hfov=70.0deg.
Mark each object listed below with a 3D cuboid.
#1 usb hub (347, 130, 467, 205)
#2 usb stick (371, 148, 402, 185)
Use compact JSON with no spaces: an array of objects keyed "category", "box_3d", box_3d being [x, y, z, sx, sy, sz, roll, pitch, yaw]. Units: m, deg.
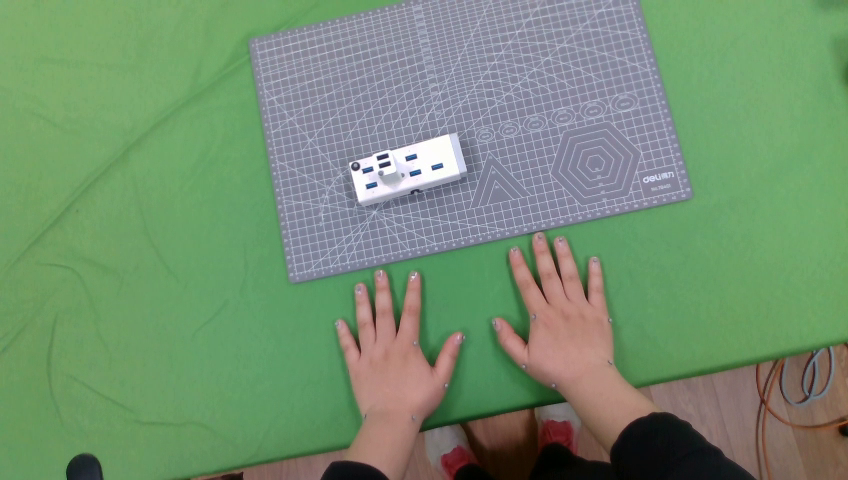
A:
[{"category":"usb hub","box_3d":[-0.019,-0.080,0.670,0.125,0.025,0.049,-16,80,3]},{"category":"usb stick","box_3d":[-0.038,-0.076,0.643,0.021,0.059,0.027,-19,78,4]}]
